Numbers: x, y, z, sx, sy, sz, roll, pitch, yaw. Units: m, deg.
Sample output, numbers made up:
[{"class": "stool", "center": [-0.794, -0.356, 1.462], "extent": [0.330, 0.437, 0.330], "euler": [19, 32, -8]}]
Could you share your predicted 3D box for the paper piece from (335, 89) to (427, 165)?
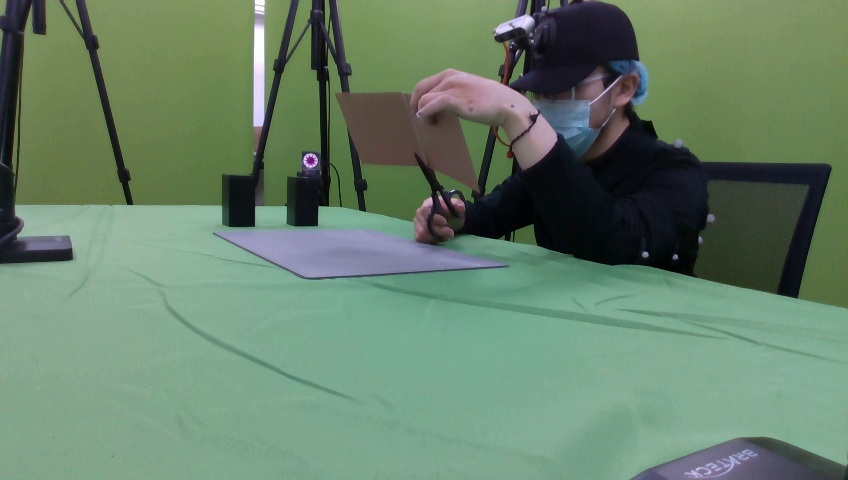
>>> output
[{"class": "paper piece", "center": [-0.069, -0.179, 0.969], "extent": [0.135, 0.135, 0.004], "euler": [6, 41, 32]}]

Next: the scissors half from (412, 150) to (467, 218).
[{"class": "scissors half", "center": [0.027, -0.094, 1.010], "extent": [0.013, 0.040, 0.176], "euler": [12, -22, 42]}]

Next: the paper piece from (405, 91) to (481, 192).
[{"class": "paper piece", "center": [0.028, -0.146, 0.886], "extent": [0.008, 0.136, 0.137], "euler": [-37, 40, -15]}]

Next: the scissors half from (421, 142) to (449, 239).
[{"class": "scissors half", "center": [0.013, -0.079, 0.999], "extent": [0.040, 0.175, 0.012], "euler": [-30, 32, -34]}]
